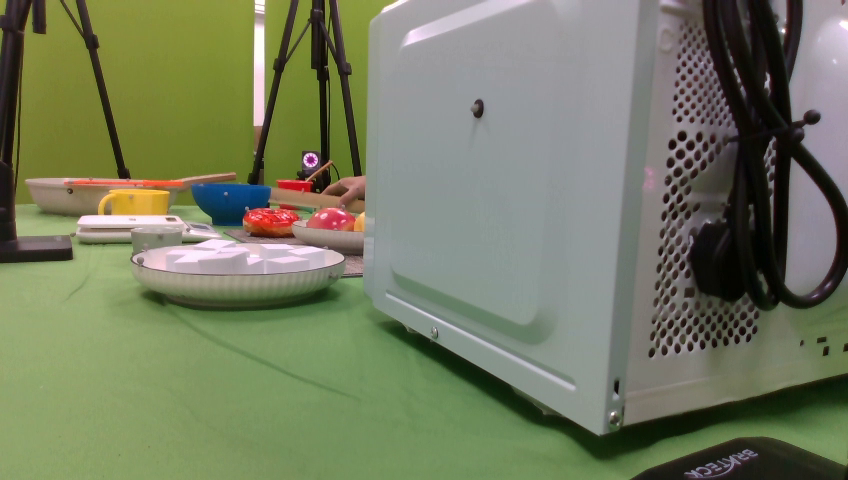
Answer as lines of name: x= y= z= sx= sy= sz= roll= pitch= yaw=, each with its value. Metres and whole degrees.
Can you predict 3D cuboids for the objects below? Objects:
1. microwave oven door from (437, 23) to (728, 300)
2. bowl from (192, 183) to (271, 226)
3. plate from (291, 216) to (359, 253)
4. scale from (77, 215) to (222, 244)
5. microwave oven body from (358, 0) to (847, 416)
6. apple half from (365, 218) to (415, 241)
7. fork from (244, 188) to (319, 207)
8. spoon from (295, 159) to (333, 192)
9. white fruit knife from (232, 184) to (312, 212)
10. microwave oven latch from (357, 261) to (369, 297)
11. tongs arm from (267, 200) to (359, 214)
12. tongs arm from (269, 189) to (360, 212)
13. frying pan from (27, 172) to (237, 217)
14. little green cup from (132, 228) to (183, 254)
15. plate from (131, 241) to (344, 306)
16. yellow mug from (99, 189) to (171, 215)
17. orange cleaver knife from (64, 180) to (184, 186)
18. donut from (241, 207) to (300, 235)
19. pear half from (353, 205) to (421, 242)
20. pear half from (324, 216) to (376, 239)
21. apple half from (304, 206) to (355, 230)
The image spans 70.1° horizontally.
microwave oven door: x=0.180 y=-0.072 z=0.621 sx=0.358 sy=0.243 sz=0.039 roll=-2 pitch=9 yaw=-29
bowl: x=-0.382 y=-0.071 z=1.202 sx=0.151 sy=0.077 sz=0.151 roll=3 pitch=7 yaw=0
plate: x=-0.103 y=-0.009 z=0.945 sx=0.209 sy=0.038 sz=0.209 roll=2 pitch=8 yaw=0
scale: x=-0.434 y=-0.019 z=0.963 sx=0.202 sy=0.031 sz=0.148 roll=-1 pitch=9 yaw=-27
microwave oven body: x=0.211 y=-0.047 z=0.475 sx=0.444 sy=0.260 sz=0.324 roll=-1 pitch=7 yaw=-28
apple half: x=-0.053 y=-0.019 z=0.966 sx=0.081 sy=0.033 sz=0.081 roll=-4 pitch=11 yaw=1
fork: x=-0.356 y=-0.105 z=1.526 sx=0.208 sy=0.018 sz=0.028 roll=16 pitch=-5 yaw=-41
spoon: x=-0.316 y=-0.159 z=1.640 sx=0.194 sy=0.022 sz=0.041 roll=-49 pitch=32 yaw=-20
white fruit knife: x=-0.364 y=-0.105 z=1.464 sx=0.208 sy=0.027 sz=0.016 roll=15 pitch=-1 yaw=-34
microwave oven latch: x=-0.019 y=0.033 z=0.531 sx=0.079 sy=0.029 sz=0.030 roll=-1 pitch=7 yaw=-27
tongs arm: x=-0.191 y=-0.077 z=1.416 sx=0.389 sy=0.027 sz=0.028 roll=6 pitch=-7 yaw=-21
tongs arm: x=-0.165 y=-0.076 z=1.362 sx=0.387 sy=0.026 sz=0.050 roll=7 pitch=-3 yaw=-27
frying pan: x=-0.624 y=-0.118 z=1.387 sx=0.305 sy=0.102 sz=0.490 roll=8 pitch=17 yaw=32
little green cup: x=-0.342 y=0.006 z=0.779 sx=0.061 sy=0.038 sz=0.061 roll=2 pitch=8 yaw=0
plate: x=-0.187 y=0.033 z=0.625 sx=0.208 sy=0.039 sz=0.207 roll=2 pitch=7 yaw=0
yellow mug: x=-0.518 y=-0.055 z=1.080 sx=0.099 sy=0.064 sz=0.131 roll=6 pitch=9 yaw=26
orange cleaver knife: x=-0.595 y=-0.114 z=1.212 sx=0.212 sy=0.012 sz=0.077 roll=-4 pitch=6 yaw=-41
donut: x=-0.263 y=-0.032 z=1.039 sx=0.099 sy=0.048 sz=0.099 roll=4 pitch=9 yaw=0
pear half: x=-0.052 y=-0.024 z=0.905 sx=0.110 sy=0.056 sz=0.076 roll=1 pitch=-2 yaw=-38
pear half: x=-0.119 y=-0.023 z=0.996 sx=0.088 sy=0.031 sz=0.070 roll=-4 pitch=23 yaw=-28
apple half: x=-0.138 y=-0.025 z=0.917 sx=0.081 sy=0.053 sz=0.074 roll=0 pitch=10 yaw=-43
